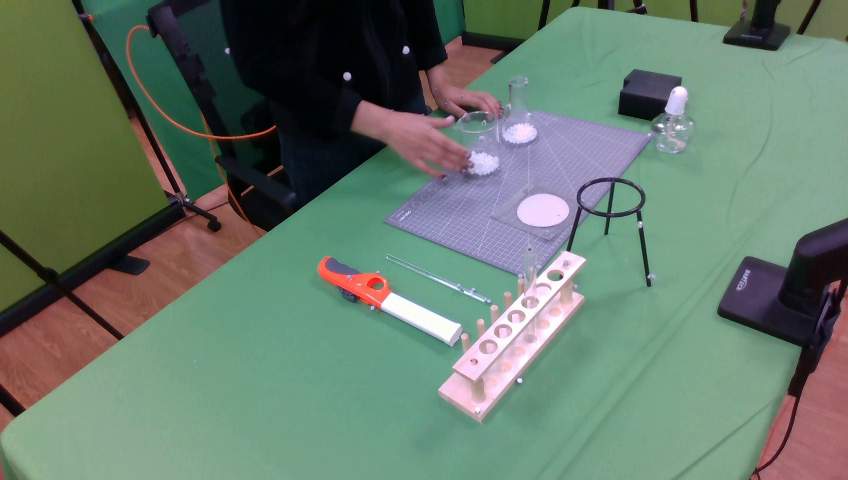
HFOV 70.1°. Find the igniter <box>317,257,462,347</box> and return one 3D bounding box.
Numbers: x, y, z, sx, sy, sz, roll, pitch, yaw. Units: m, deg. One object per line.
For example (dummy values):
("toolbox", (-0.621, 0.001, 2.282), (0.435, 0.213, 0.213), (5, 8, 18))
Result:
("igniter", (-0.061, 0.086, 0.891), (0.274, 0.025, 0.057), (23, 59, 33))

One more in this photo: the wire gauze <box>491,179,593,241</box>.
("wire gauze", (0.198, -0.051, 1.014), (0.125, 0.011, 0.120), (-38, 48, -27))

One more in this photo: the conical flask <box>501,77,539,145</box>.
("conical flask", (0.183, -0.250, 1.163), (0.075, 0.122, 0.075), (-6, 40, 5))

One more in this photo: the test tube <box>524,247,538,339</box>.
("test tube", (0.133, 0.070, 0.749), (0.017, 0.151, 0.017), (-5, 38, 4))

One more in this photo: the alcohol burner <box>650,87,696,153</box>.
("alcohol burner", (0.448, -0.217, 1.084), (0.078, 0.119, 0.077), (-6, 38, 5))

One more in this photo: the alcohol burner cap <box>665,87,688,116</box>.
("alcohol burner cap", (0.445, -0.244, 1.060), (0.034, 0.048, 0.033), (-2, 45, 3))

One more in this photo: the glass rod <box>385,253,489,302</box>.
("glass rod", (0.016, 0.055, 0.926), (0.198, 0.008, 0.008), (23, 50, 32))

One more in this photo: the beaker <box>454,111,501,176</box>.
("beaker", (0.101, -0.174, 1.106), (0.084, 0.101, 0.073), (-5, 40, 6))

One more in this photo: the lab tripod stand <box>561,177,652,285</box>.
("lab tripod stand", (0.263, -0.014, 0.864), (0.148, 0.132, 0.147), (-7, 38, 6))

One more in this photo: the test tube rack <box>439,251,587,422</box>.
("test tube rack", (0.118, 0.111, 0.780), (0.066, 0.085, 0.243), (26, 51, 34))
